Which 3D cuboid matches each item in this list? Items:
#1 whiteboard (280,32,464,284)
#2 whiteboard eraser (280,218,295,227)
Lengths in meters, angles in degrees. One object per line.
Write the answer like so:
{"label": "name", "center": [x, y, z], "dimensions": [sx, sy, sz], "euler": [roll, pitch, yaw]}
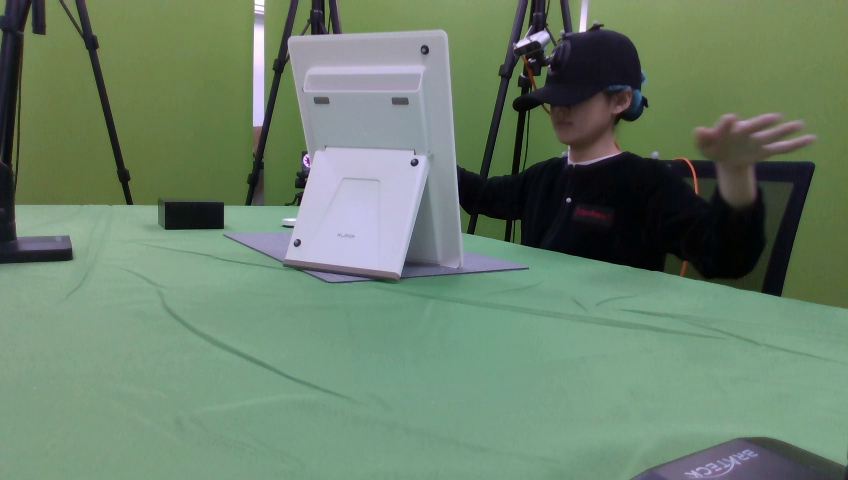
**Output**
{"label": "whiteboard", "center": [-0.086, -0.080, 0.728], "dimensions": [0.216, 0.305, 0.144], "euler": [7, 28, 24]}
{"label": "whiteboard eraser", "center": [-0.242, -0.036, 1.228], "dimensions": [0.102, 0.019, 0.041], "euler": [0, 7, -33]}
